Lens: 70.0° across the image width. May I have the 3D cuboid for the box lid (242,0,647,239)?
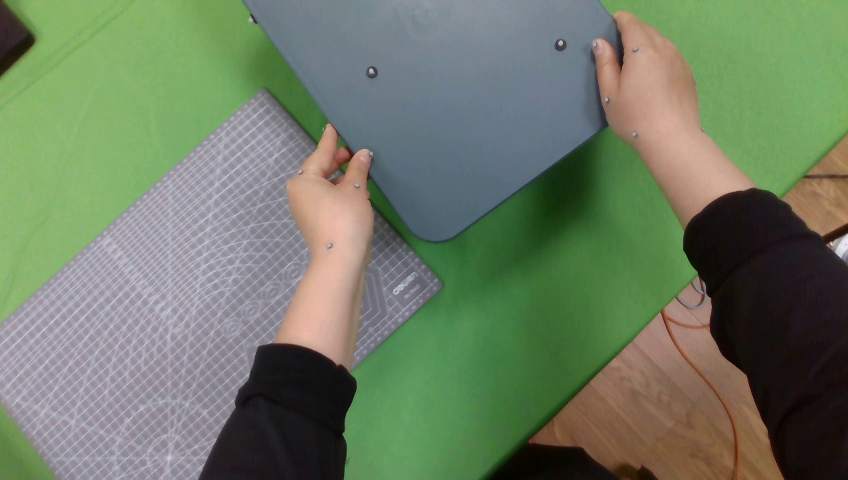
[{"bbox_3d":[-0.001,-0.214,0.559,0.263,0.015,0.370,-36,86,1],"label":"box lid"}]
